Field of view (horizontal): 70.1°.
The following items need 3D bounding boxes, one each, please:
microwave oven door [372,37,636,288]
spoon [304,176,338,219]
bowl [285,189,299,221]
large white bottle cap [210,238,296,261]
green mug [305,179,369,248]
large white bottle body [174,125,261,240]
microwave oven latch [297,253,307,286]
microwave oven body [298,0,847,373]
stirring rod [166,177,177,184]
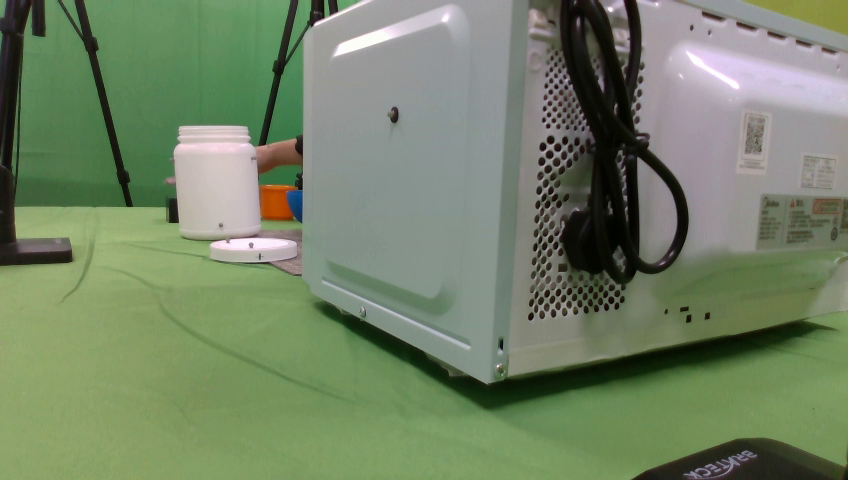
[{"bbox_3d":[0.109,-0.080,0.686,0.358,0.243,0.039,-2,9,-33],"label":"microwave oven door"},{"bbox_3d":[-0.201,-0.084,1.146,0.042,0.021,0.193,3,30,-25],"label":"spoon"},{"bbox_3d":[-0.180,-0.050,1.113,0.151,0.077,0.151,2,8,0],"label":"bowl"},{"bbox_3d":[-0.236,0.012,0.839,0.115,0.018,0.115,1,7,0],"label":"large white bottle cap"},{"bbox_3d":[-0.133,-0.044,0.977,0.092,0.105,0.126,6,8,32],"label":"green mug"},{"bbox_3d":[-0.349,-0.100,1.025,0.131,0.184,0.130,-1,9,0],"label":"large white bottle body"},{"bbox_3d":[-0.081,0.027,0.582,0.079,0.029,0.030,-1,7,-31],"label":"microwave oven latch"},{"bbox_3d":[0.151,-0.055,0.542,0.444,0.260,0.324,-2,7,-33],"label":"microwave oven body"},{"bbox_3d":[-0.467,-0.134,1.275,0.014,0.006,0.177,44,30,15],"label":"stirring rod"}]
